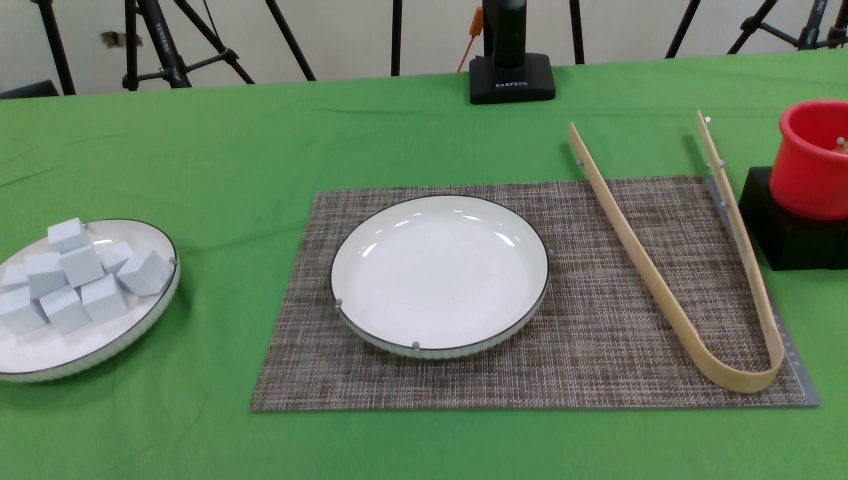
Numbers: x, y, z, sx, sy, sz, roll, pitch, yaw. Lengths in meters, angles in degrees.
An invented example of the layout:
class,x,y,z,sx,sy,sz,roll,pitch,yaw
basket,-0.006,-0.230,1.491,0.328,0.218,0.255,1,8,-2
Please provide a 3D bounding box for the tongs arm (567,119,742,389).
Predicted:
class,x,y,z,sx,sy,sz,roll,pitch,yaw
tongs arm,0.209,-0.015,0.614,0.028,0.028,0.383,-5,42,-6

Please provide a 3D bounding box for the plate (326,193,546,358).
class,x,y,z,sx,sy,sz,roll,pitch,yaw
plate,0.012,0.033,0.583,0.207,0.039,0.205,-3,43,4

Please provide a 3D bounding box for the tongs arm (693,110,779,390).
class,x,y,z,sx,sy,sz,roll,pitch,yaw
tongs arm,0.291,-0.020,0.608,0.050,0.027,0.381,2,43,7

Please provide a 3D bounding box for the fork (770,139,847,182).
class,x,y,z,sx,sy,sz,roll,pitch,yaw
fork,0.408,-0.104,0.526,0.207,0.019,0.028,-35,9,30

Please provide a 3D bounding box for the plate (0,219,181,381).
class,x,y,z,sx,sy,sz,roll,pitch,yaw
plate,-0.346,0.058,0.606,0.209,0.038,0.207,-3,42,3

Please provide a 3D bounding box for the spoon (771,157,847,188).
class,x,y,z,sx,sy,sz,roll,pitch,yaw
spoon,0.378,-0.075,0.497,0.041,0.193,0.021,-26,88,-26
